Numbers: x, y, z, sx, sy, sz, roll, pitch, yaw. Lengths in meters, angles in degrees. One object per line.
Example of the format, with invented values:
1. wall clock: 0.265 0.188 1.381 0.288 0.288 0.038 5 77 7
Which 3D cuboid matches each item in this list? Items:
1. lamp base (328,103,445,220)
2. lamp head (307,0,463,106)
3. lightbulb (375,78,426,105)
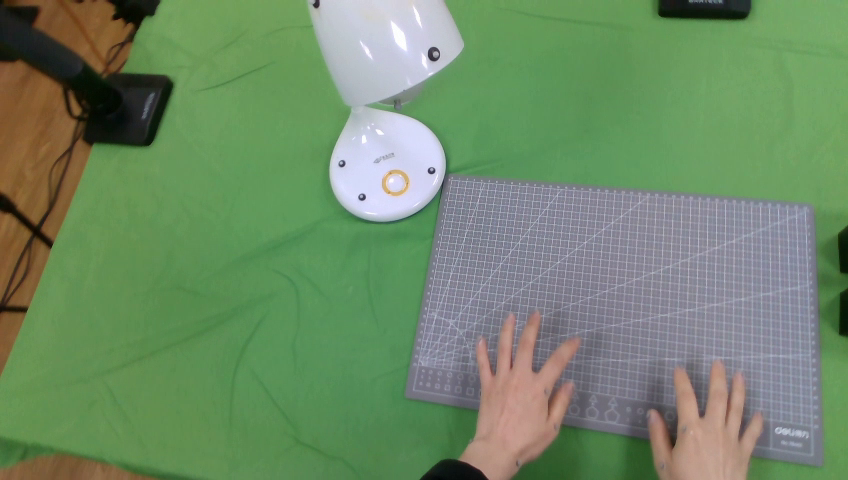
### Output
1. lamp base: -0.070 -0.138 0.752 0.160 0.182 0.177 -32 65 -4
2. lamp head: -0.043 -0.184 0.478 0.112 0.124 0.111 -24 24 12
3. lightbulb: -0.035 -0.161 0.485 0.059 0.108 0.059 -16 28 9
